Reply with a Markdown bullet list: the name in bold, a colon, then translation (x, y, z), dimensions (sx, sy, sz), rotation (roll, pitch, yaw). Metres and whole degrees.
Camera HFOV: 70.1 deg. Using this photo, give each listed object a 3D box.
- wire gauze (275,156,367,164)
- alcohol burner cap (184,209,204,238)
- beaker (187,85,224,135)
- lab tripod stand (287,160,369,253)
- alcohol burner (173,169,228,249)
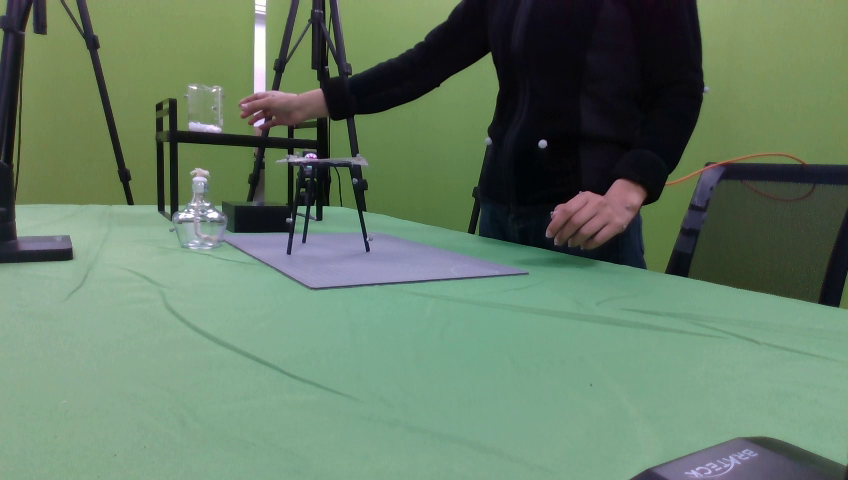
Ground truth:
- **wire gauze**: translation (-0.148, -0.119, 0.895), dimensions (0.121, 0.011, 0.125), rotation (1, 7, -3)
- **alcohol burner cap**: translation (-0.389, -0.029, 1.025), dimensions (0.034, 0.048, 0.034), rotation (2, 9, 0)
- **beaker**: translation (-0.466, -0.276, 1.296), dimensions (0.074, 0.100, 0.083), rotation (-3, 10, -35)
- **lab tripod stand**: translation (-0.157, -0.053, 0.901), dimensions (0.148, 0.131, 0.148), rotation (0, 7, 0)
- **alcohol burner**: translation (-0.333, -0.047, 0.903), dimensions (0.078, 0.119, 0.078), rotation (2, 6, 0)
